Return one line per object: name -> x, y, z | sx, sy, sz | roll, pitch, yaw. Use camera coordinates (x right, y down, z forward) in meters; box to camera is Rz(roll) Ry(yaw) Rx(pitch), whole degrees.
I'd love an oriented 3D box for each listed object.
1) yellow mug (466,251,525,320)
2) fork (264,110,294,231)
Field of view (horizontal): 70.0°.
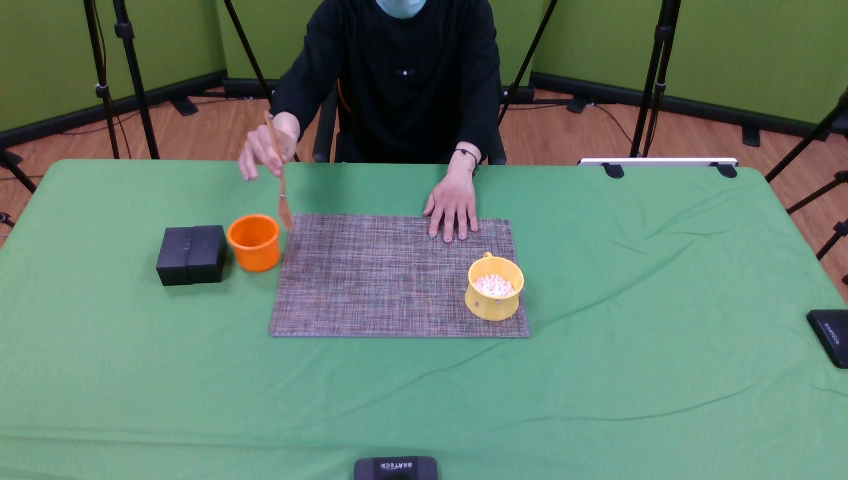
yellow mug -> 0.125, 0.074, 1.096 | 0.100, 0.064, 0.130 | -4, 45, -7
fork -> -0.248, -0.116, 1.032 | 0.018, 0.208, 0.028 | 4, 20, 29
